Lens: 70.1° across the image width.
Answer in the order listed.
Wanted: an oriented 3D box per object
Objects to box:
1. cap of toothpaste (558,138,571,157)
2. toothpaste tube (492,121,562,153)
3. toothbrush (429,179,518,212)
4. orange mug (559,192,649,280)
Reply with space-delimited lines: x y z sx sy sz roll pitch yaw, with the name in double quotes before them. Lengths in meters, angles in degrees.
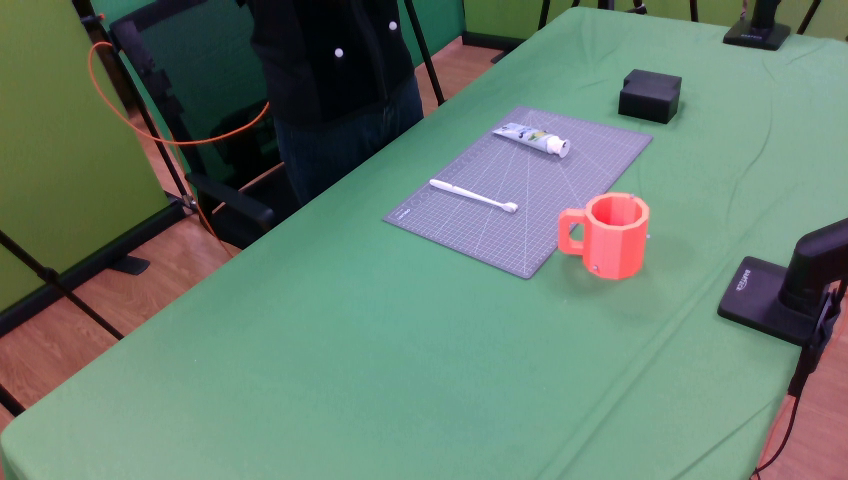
"cap of toothpaste" 0.258 -0.171 1.118 0.011 0.037 0.037 25 52 32
"toothpaste tube" 0.209 -0.203 1.174 0.055 0.034 0.163 -27 39 -30
"toothbrush" 0.084 -0.081 1.062 0.180 0.014 0.017 20 45 30
"orange mug" 0.261 -0.008 0.884 0.126 0.101 0.083 9 43 14
